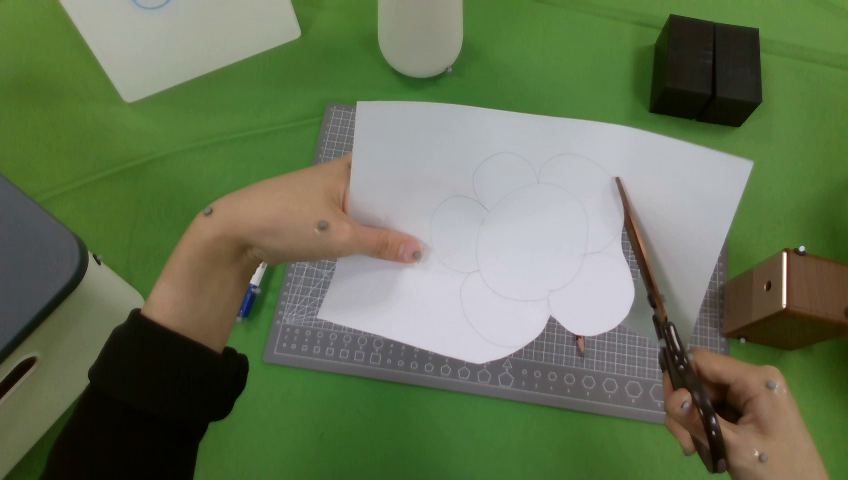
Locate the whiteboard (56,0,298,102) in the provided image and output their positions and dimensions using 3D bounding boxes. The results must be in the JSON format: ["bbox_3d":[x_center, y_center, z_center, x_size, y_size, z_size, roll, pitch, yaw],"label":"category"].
[{"bbox_3d":[-0.295,-0.342,0.627,0.217,0.308,0.142,-25,52,-9],"label":"whiteboard"}]

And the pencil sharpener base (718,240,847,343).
[{"bbox_3d":[0.337,0.052,0.565,0.077,0.107,0.061,12,69,0],"label":"pencil sharpener base"}]

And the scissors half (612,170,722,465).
[{"bbox_3d":[0.135,0.044,0.341,0.013,0.040,0.175,-19,88,5],"label":"scissors half"}]

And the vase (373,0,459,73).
[{"bbox_3d":[-0.009,-0.267,0.629,0.098,0.201,0.097,0,68,0],"label":"vase"}]

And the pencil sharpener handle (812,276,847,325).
[{"bbox_3d":[0.388,0.060,0.553,0.030,0.068,0.035,12,63,1],"label":"pencil sharpener handle"}]

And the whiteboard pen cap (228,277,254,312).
[{"bbox_3d":[-0.179,0.054,0.600,0.018,0.018,0.033,14,65,5],"label":"whiteboard pen cap"}]

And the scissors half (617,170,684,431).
[{"bbox_3d":[0.137,0.039,0.361,0.013,0.040,0.176,-18,111,10],"label":"scissors half"}]

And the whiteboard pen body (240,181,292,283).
[{"bbox_3d":[-0.165,0.001,0.622,0.017,0.017,0.140,15,68,5],"label":"whiteboard pen body"}]

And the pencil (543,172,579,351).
[{"bbox_3d":[0.142,0.018,0.625,0.012,0.012,0.192,-5,71,-3],"label":"pencil"}]

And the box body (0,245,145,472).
[{"bbox_3d":[-0.471,0.032,0.528,0.362,0.161,0.253,34,73,11],"label":"box body"}]

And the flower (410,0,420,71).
[{"bbox_3d":[-0.014,-0.310,0.557,0.044,0.365,0.038,1,51,3],"label":"flower"}]

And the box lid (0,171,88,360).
[{"bbox_3d":[-0.472,0.005,0.458,0.370,0.015,0.262,34,72,11],"label":"box lid"}]
